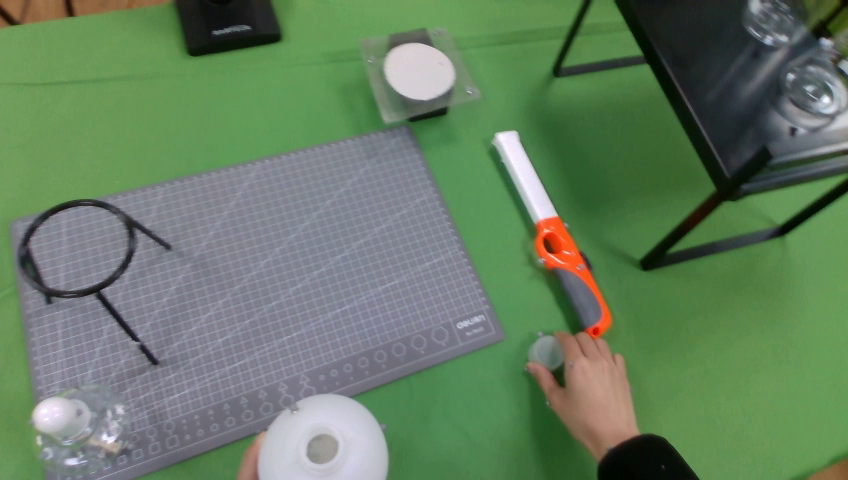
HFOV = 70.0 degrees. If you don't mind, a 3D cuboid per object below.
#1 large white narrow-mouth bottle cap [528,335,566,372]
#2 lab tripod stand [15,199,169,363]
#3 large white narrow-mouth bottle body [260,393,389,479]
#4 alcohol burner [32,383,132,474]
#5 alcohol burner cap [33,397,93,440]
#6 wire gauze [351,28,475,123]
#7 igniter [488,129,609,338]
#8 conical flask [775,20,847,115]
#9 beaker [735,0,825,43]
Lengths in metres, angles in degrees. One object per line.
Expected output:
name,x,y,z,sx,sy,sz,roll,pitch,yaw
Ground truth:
large white narrow-mouth bottle cap,0.131,0.121,0.647,0.038,0.024,0.037,3,64,-6
lab tripod stand,-0.292,0.035,0.555,0.149,0.132,0.147,4,64,-9
large white narrow-mouth bottle body,-0.079,0.179,0.488,0.102,0.196,0.101,3,64,-6
alcohol burner,-0.292,0.154,0.509,0.078,0.120,0.077,4,62,-8
alcohol burner cap,-0.286,0.139,0.476,0.034,0.048,0.033,3,70,-8
wire gauze,-0.014,-0.205,0.732,0.122,0.011,0.124,-16,69,-15
igniter,0.144,-0.015,0.708,0.057,0.025,0.274,-13,67,-26
conical flask,0.403,-0.183,0.574,0.075,0.122,0.074,3,64,-7
beaker,0.376,-0.263,0.622,0.074,0.101,0.083,-10,65,-13
